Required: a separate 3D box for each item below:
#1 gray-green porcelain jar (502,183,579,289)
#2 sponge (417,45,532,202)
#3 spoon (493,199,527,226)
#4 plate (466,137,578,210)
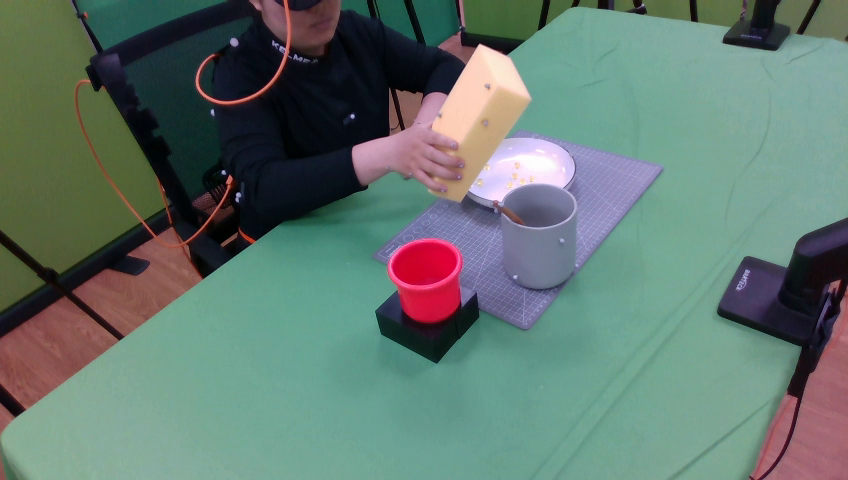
[{"bbox_3d":[0.167,-0.001,0.866,0.106,0.127,0.105,-5,40,5],"label":"gray-green porcelain jar"},{"bbox_3d":[0.071,-0.177,0.935,0.061,0.206,0.117,15,37,-27],"label":"sponge"},{"bbox_3d":[0.135,-0.016,0.831,0.021,0.195,0.041,-49,53,-1],"label":"spoon"},{"bbox_3d":[0.166,-0.113,1.068,0.207,0.039,0.206,-5,40,5],"label":"plate"}]
